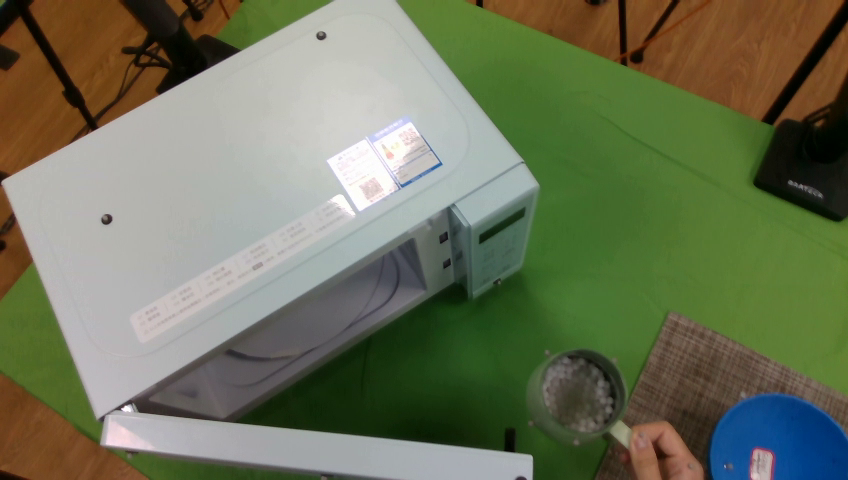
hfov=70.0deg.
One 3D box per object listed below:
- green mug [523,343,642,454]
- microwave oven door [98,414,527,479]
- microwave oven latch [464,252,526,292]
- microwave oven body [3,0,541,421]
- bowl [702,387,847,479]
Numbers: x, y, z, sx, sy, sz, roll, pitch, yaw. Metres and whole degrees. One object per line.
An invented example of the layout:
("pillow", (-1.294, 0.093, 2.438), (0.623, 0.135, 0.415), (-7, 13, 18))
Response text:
("green mug", (0.158, 0.159, 0.591), (0.124, 0.105, 0.092), (42, 80, 16))
("microwave oven door", (-0.084, 0.204, 0.592), (0.355, 0.245, 0.039), (4, 70, 5))
("microwave oven latch", (0.088, 0.032, 0.755), (0.079, 0.030, 0.030), (-30, 70, -6))
("microwave oven body", (-0.148, -0.026, 0.690), (0.442, 0.262, 0.323), (-32, 71, -7))
("bowl", (0.367, 0.239, 0.649), (0.151, 0.077, 0.150), (-1, 69, 4))
